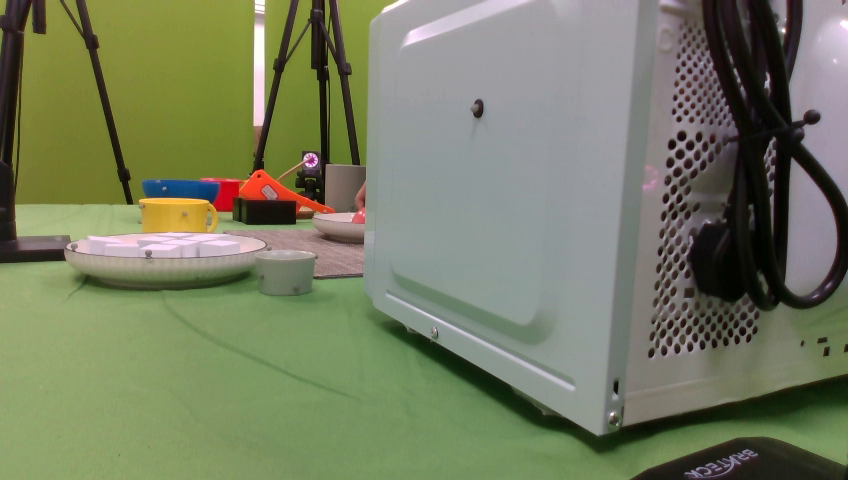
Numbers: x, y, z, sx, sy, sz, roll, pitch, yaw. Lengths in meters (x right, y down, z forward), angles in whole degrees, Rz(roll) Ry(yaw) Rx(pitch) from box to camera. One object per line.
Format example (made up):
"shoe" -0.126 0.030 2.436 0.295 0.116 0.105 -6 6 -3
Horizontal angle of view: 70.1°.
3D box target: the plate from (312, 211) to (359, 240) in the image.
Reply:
"plate" -0.091 -0.026 1.063 0.209 0.038 0.209 2 7 0

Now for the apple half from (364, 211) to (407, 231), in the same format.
"apple half" -0.068 -0.037 1.104 0.081 0.033 0.081 -1 9 0

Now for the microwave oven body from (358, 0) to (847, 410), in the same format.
"microwave oven body" 0.210 -0.051 0.471 0.444 0.260 0.324 -1 7 -28

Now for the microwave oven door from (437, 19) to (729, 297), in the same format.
"microwave oven door" 0.180 -0.076 0.618 0.358 0.243 0.039 -2 9 -28

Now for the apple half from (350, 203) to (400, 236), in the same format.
"apple half" -0.081 -0.036 1.024 0.081 0.053 0.074 -3 11 -33

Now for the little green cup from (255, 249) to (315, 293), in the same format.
"little green cup" -0.144 0.032 0.627 0.061 0.038 0.061 2 5 0

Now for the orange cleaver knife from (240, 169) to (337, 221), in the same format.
"orange cleaver knife" -0.287 -0.081 1.298 0.212 0.077 0.012 25 -3 -31

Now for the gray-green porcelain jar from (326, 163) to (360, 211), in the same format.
"gray-green porcelain jar" -0.187 -0.125 1.488 0.106 0.126 0.106 2 8 0

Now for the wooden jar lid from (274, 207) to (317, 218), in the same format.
"wooden jar lid" -0.303 -0.065 1.409 0.108 0.020 0.108 3 9 0

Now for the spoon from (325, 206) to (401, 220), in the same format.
"spoon" -0.123 -0.061 1.274 0.195 0.021 0.041 -12 -5 -42

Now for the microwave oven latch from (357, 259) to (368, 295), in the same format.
"microwave oven latch" -0.019 0.031 0.529 0.079 0.029 0.030 -1 7 -26

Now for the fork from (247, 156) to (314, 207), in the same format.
"fork" -0.360 -0.147 1.522 0.207 0.018 0.028 -43 11 -7

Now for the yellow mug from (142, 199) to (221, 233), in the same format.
"yellow mug" -0.373 -0.030 0.948 0.099 0.064 0.131 6 7 30

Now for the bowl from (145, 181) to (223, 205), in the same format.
"bowl" -0.499 -0.081 1.261 0.151 0.077 0.151 2 8 0

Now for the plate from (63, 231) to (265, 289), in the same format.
"plate" -0.288 0.021 0.687 0.208 0.039 0.207 2 8 0
